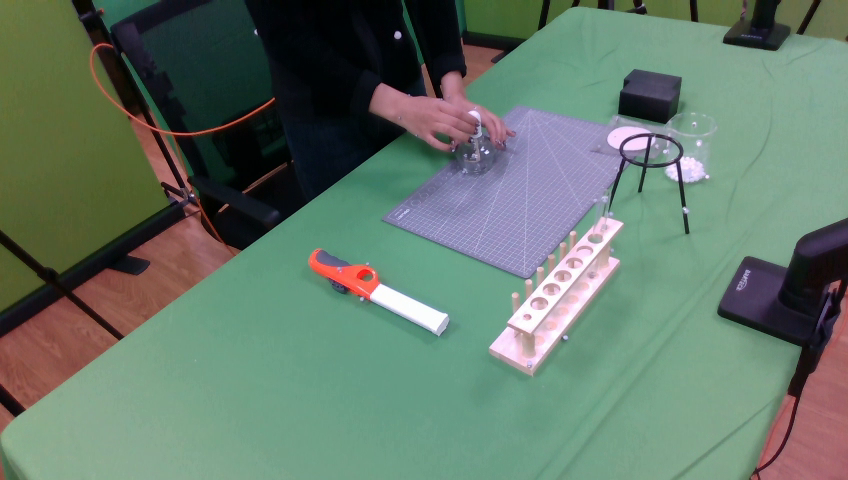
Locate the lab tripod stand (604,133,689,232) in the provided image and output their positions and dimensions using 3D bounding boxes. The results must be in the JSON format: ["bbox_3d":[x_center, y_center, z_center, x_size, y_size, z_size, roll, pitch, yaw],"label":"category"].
[{"bbox_3d":[0.347,-0.086,0.932,0.148,0.132,0.147,-4,40,4],"label":"lab tripod stand"}]

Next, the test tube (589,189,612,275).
[{"bbox_3d":[0.238,-0.007,0.818,0.017,0.151,0.017,-3,43,4],"label":"test tube"}]

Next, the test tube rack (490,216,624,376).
[{"bbox_3d":[0.184,0.064,0.822,0.066,0.085,0.243,24,50,33],"label":"test tube rack"}]

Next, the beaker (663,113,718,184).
[{"bbox_3d":[0.442,-0.151,1.018,0.084,0.101,0.074,-1,40,11],"label":"beaker"}]

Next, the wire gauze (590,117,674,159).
[{"bbox_3d":[0.393,-0.192,1.139,0.120,0.011,0.125,19,47,28],"label":"wire gauze"}]

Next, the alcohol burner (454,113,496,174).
[{"bbox_3d":[0.092,-0.181,1.102,0.078,0.119,0.077,-5,42,5],"label":"alcohol burner"}]

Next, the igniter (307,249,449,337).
[{"bbox_3d":[-0.079,0.073,0.905,0.274,0.025,0.057,24,61,32],"label":"igniter"}]

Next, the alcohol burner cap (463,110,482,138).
[{"bbox_3d":[0.086,-0.209,1.080,0.034,0.048,0.033,-1,37,2],"label":"alcohol burner cap"}]
